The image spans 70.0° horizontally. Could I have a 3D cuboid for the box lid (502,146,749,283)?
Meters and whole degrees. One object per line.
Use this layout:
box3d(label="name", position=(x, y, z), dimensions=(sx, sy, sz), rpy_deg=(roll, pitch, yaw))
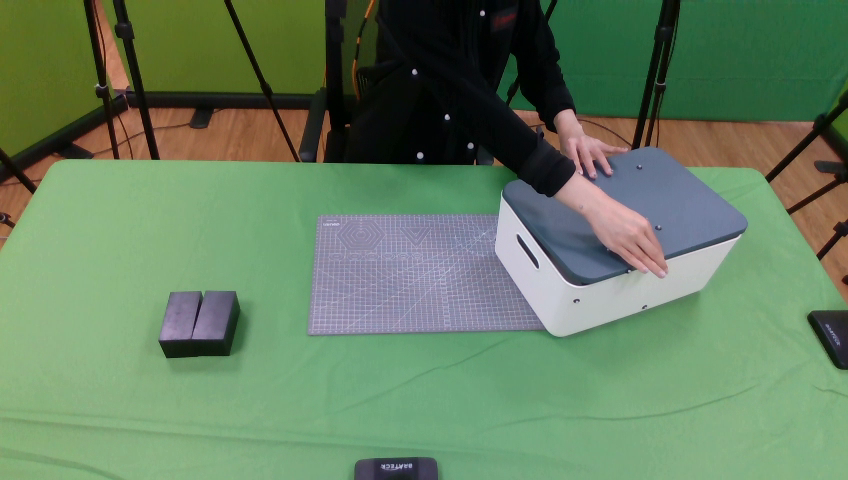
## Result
box3d(label="box lid", position=(0.346, -0.058, 1.058), dimensions=(0.372, 0.015, 0.261), rpy_deg=(-16, 46, -20))

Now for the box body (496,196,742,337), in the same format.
box3d(label="box body", position=(0.340, 0.003, 1.118), dimensions=(0.364, 0.161, 0.252), rpy_deg=(-15, 49, -18))
